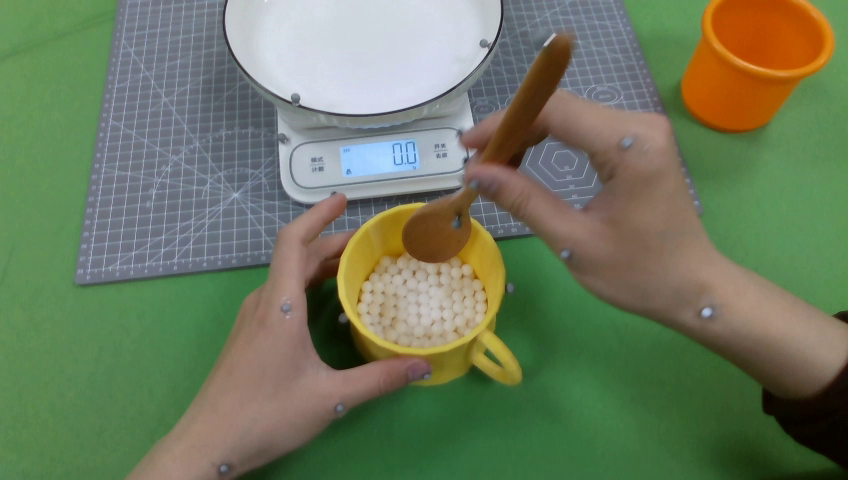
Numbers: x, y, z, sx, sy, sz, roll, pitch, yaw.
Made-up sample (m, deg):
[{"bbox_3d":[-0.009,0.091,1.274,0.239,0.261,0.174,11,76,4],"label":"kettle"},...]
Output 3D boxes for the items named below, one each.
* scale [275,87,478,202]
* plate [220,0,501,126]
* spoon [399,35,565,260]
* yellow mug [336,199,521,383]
[{"bbox_3d":[-0.043,-0.127,0.480,0.149,0.032,0.199,-7,64,-3],"label":"scale"},{"bbox_3d":[-0.047,-0.167,0.464,0.209,0.038,0.207,0,63,-1],"label":"plate"},{"bbox_3d":[0.024,-0.031,0.300,0.042,0.194,0.021,14,67,-10],"label":"spoon"},{"bbox_3d":[0.010,0.042,0.379,0.130,0.064,0.100,40,72,17],"label":"yellow mug"}]
